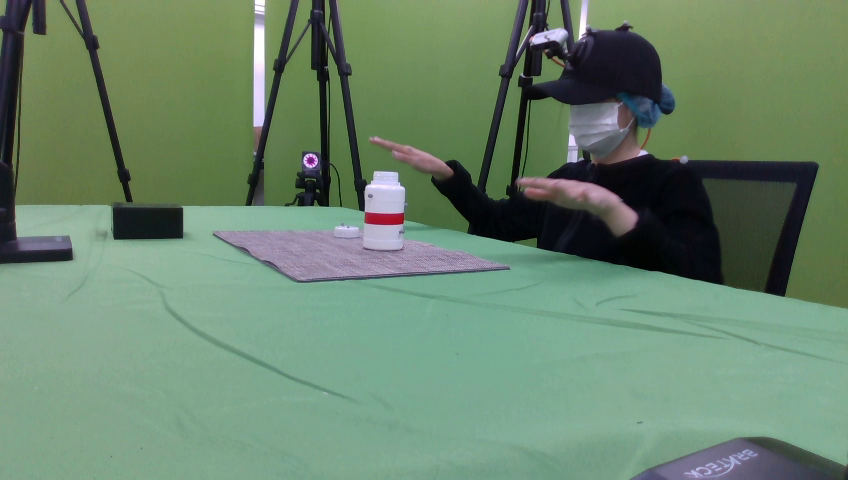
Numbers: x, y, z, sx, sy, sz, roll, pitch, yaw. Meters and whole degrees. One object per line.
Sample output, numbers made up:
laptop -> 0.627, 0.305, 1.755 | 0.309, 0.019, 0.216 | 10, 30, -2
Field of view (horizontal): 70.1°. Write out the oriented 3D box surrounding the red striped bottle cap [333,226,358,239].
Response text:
red striped bottle cap -> -0.139, -0.013, 1.069 | 0.044, 0.017, 0.044 | 0, 9, 0

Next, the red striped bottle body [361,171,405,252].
red striped bottle body -> -0.062, -0.045, 0.933 | 0.063, 0.119, 0.063 | 4, 8, 0
